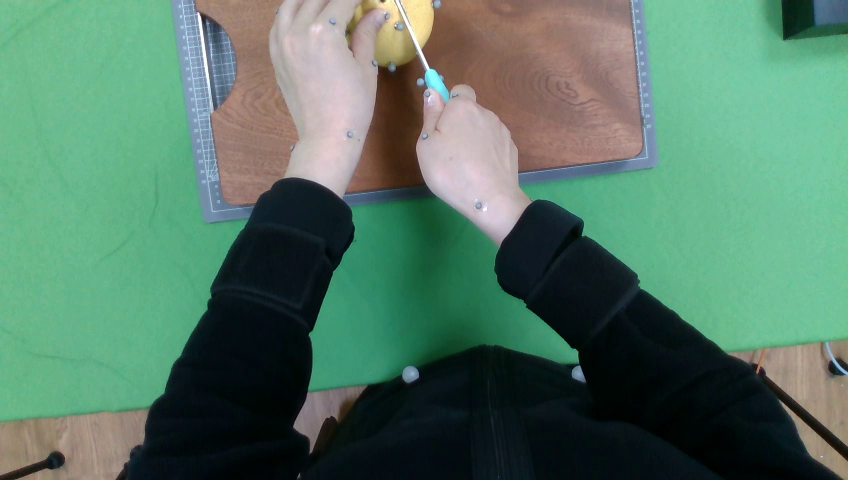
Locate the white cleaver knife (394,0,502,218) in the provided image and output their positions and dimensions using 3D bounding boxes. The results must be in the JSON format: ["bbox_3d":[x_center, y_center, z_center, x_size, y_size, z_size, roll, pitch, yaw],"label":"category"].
[{"bbox_3d":[0.002,-0.151,0.507,0.021,0.066,0.286,-23,91,7],"label":"white cleaver knife"}]

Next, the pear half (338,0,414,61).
[{"bbox_3d":[-0.045,-0.188,0.508,0.056,0.110,0.076,-31,87,3],"label":"pear half"}]

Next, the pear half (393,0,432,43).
[{"bbox_3d":[-0.011,-0.206,0.517,0.031,0.088,0.070,-32,87,-1],"label":"pear half"}]
